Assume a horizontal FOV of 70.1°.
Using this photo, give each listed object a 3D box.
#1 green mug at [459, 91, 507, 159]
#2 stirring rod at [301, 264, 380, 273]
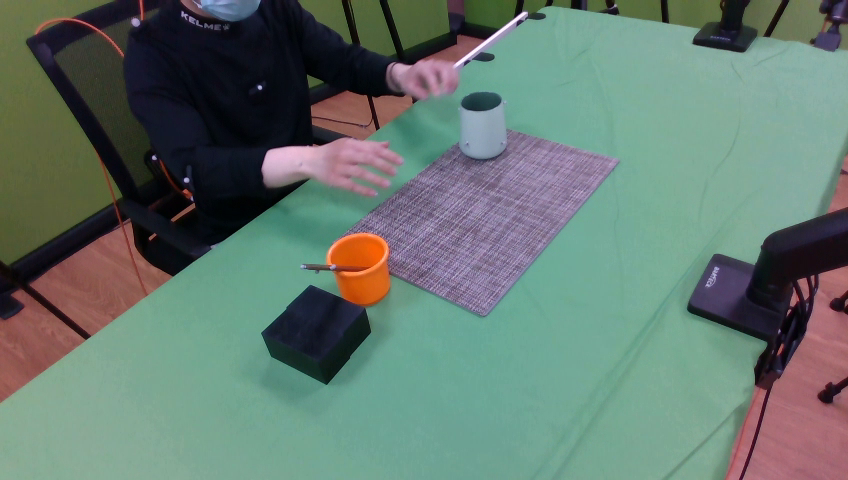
[{"bbox_3d":[0.116,-0.225,1.144,0.092,0.105,0.125,13,45,23],"label":"green mug"},{"bbox_3d":[-0.113,0.041,0.850,0.014,0.006,0.177,14,2,28],"label":"stirring rod"}]
